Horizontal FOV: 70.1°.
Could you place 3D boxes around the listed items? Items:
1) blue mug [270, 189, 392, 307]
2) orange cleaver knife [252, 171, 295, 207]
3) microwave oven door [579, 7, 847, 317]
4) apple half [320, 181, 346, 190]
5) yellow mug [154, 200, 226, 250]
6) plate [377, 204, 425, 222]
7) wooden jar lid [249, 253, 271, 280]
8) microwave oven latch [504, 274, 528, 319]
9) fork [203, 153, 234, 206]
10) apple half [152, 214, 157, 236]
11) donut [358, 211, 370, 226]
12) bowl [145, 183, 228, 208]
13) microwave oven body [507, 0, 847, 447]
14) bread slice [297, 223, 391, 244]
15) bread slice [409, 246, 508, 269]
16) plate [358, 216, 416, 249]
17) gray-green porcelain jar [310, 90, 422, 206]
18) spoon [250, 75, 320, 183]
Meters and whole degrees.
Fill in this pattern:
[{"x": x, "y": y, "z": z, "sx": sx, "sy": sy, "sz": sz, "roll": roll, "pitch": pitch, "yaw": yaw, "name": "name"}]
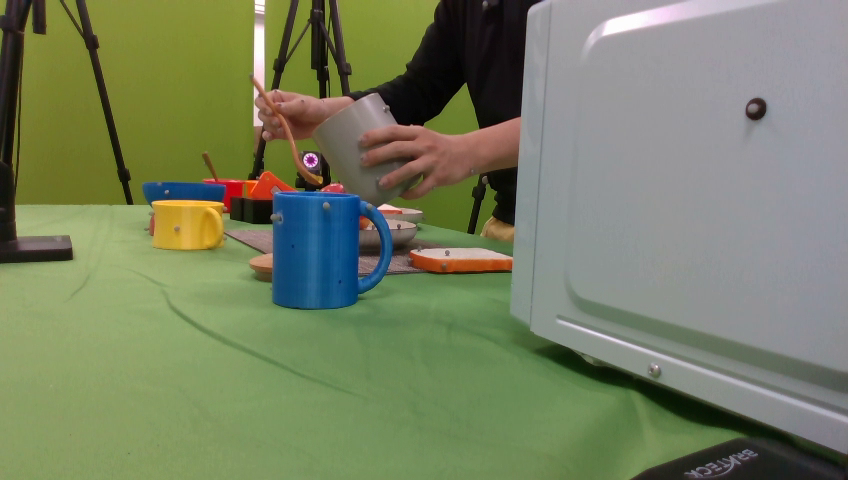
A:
[{"x": -0.089, "y": 0.005, "z": 0.588, "sx": 0.117, "sy": 0.106, "sz": 0.082, "roll": 0, "pitch": 7, "yaw": -11, "name": "blue mug"}, {"x": -0.283, "y": -0.087, "z": 1.343, "sx": 0.212, "sy": 0.077, "sz": 0.012, "roll": 24, "pitch": -16, "yaw": -41, "name": "orange cleaver knife"}, {"x": 0.294, "y": -0.067, "z": 0.570, "sx": 0.358, "sy": 0.243, "sz": 0.039, "roll": -3, "pitch": 9, "yaw": -31, "name": "microwave oven door"}, {"x": -0.130, "y": -0.077, "z": 0.952, "sx": 0.081, "sy": 0.033, "sz": 0.081, "roll": 4, "pitch": 14, "yaw": -1, "name": "apple half"}, {"x": -0.337, "y": -0.023, "z": 0.899, "sx": 0.130, "sy": 0.064, "sz": 0.100, "roll": 8, "pitch": 10, "yaw": 34, "name": "yellow mug"}, {"x": -0.102, "y": -0.053, "z": 1.299, "sx": 0.209, "sy": 0.038, "sz": 0.209, "roll": 2, "pitch": 8, "yaw": 0, "name": "plate"}, {"x": -0.148, "y": 0.028, "z": 0.708, "sx": 0.108, "sy": 0.020, "sz": 0.108, "roll": -1, "pitch": 10, "yaw": 0, "name": "wooden jar lid"}, {"x": 0.100, "y": 0.041, "z": 0.471, "sx": 0.079, "sy": 0.029, "sz": 0.030, "roll": -1, "pitch": 7, "yaw": -28, "name": "microwave oven latch"}, {"x": -0.480, "y": -0.136, "z": 1.412, "sx": 0.028, "sy": 0.018, "sz": 0.207, "roll": 0, "pitch": -34, "yaw": -1, "name": "fork"}, {"x": -0.415, "y": -0.034, "z": 1.017, "sx": 0.081, "sy": 0.053, "sz": 0.074, "roll": 1, "pitch": 10, "yaw": -9, "name": "apple half"}, {"x": -0.132, "y": -0.042, "z": 0.959, "sx": 0.099, "sy": 0.048, "sz": 0.099, "roll": 2, "pitch": 7, "yaw": 0, "name": "donut"}, {"x": -0.459, "y": -0.069, "z": 1.175, "sx": 0.151, "sy": 0.077, "sz": 0.151, "roll": 2, "pitch": 7, "yaw": 0, "name": "bowl"}, {"x": 0.331, "y": -0.042, "z": 0.425, "sx": 0.444, "sy": 0.260, "sz": 0.324, "roll": -2, "pitch": 8, "yaw": -31, "name": "microwave oven body"}, {"x": -0.121, "y": -0.012, "z": 0.971, "sx": 0.106, "sy": 0.018, "sz": 0.135, "roll": 9, "pitch": 12, "yaw": 42, "name": "bread slice"}, {"x": 0.047, "y": 0.022, "z": 0.816, "sx": 0.132, "sy": 0.019, "sz": 0.104, "roll": 0, "pitch": 7, "yaw": -24, "name": "bread slice"}, {"x": -0.116, "y": -0.014, "z": 0.967, "sx": 0.208, "sy": 0.039, "sz": 0.207, "roll": 2, "pitch": 7, "yaw": 0, "name": "plate"}, {"x": -0.071, "y": -0.114, "z": 0.796, "sx": 0.106, "sy": 0.126, "sz": 0.106, "roll": -33, "pitch": 6, "yaw": 5, "name": "gray-green porcelain jar"}, {"x": -0.211, "y": -0.167, "z": 0.914, "sx": 0.021, "sy": 0.193, "sz": 0.041, "roll": -28, "pitch": -2, "yaw": 0, "name": "spoon"}]
